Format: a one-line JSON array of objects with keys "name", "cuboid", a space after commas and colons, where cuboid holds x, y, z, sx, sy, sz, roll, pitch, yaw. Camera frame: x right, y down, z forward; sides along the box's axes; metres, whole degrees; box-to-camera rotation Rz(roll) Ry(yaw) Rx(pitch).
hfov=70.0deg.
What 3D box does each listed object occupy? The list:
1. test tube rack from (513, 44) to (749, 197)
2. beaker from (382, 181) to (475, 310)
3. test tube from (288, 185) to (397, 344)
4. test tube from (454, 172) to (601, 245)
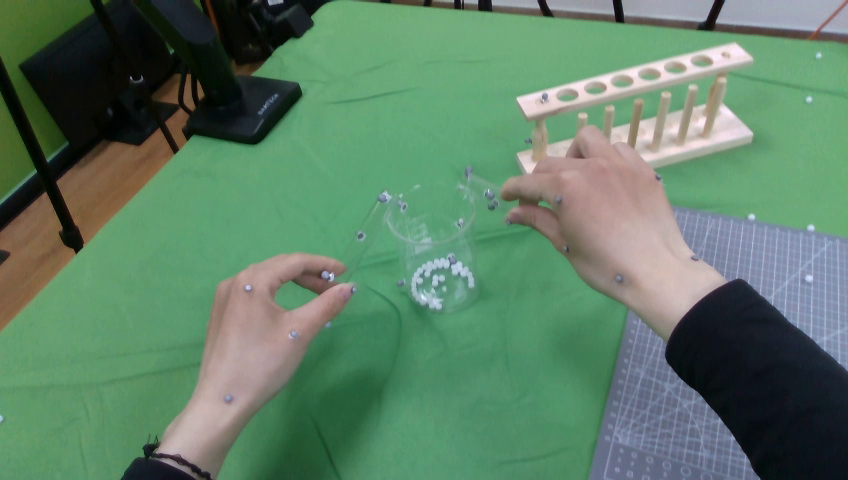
[{"name": "test tube rack", "cuboid": [0.219, -0.126, 0.637, 0.242, 0.086, 0.066, -15, 48, -5]}, {"name": "beaker", "cuboid": [0.010, 0.007, 0.539, 0.084, 0.101, 0.073, -35, 53, -22]}, {"name": "test tube", "cuboid": [-0.066, 0.022, 0.478, 0.017, 0.017, 0.150, 43, 105, 37]}, {"name": "test tube", "cuboid": [0.088, -0.023, 0.490, 0.151, 0.017, 0.017, 19, 40, -28]}]
